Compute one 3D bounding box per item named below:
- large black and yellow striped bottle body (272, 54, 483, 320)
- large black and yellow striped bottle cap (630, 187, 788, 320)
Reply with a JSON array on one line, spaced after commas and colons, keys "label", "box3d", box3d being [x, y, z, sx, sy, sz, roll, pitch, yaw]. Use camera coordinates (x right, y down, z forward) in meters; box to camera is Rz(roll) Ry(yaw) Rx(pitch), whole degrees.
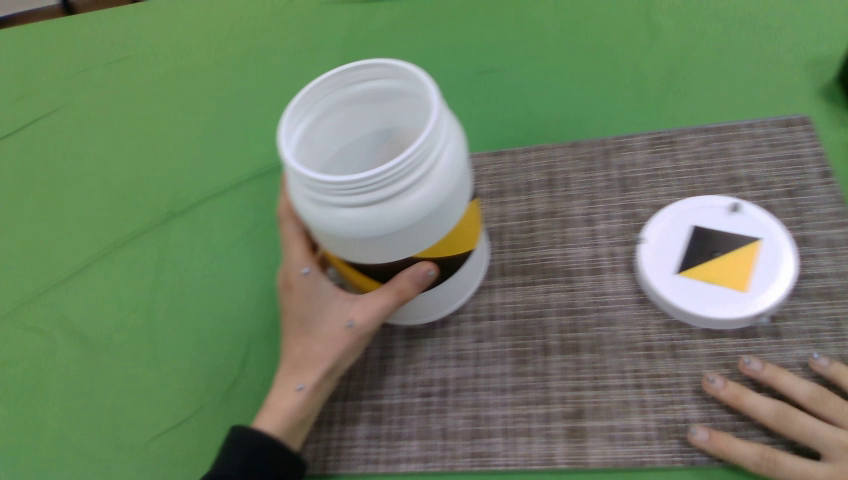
[{"label": "large black and yellow striped bottle body", "box3d": [-0.029, -0.034, 0.463, 0.130, 0.186, 0.129, -6, 56, 10]}, {"label": "large black and yellow striped bottle cap", "box3d": [0.223, 0.008, 0.478, 0.115, 0.019, 0.114, -6, 57, 10]}]
